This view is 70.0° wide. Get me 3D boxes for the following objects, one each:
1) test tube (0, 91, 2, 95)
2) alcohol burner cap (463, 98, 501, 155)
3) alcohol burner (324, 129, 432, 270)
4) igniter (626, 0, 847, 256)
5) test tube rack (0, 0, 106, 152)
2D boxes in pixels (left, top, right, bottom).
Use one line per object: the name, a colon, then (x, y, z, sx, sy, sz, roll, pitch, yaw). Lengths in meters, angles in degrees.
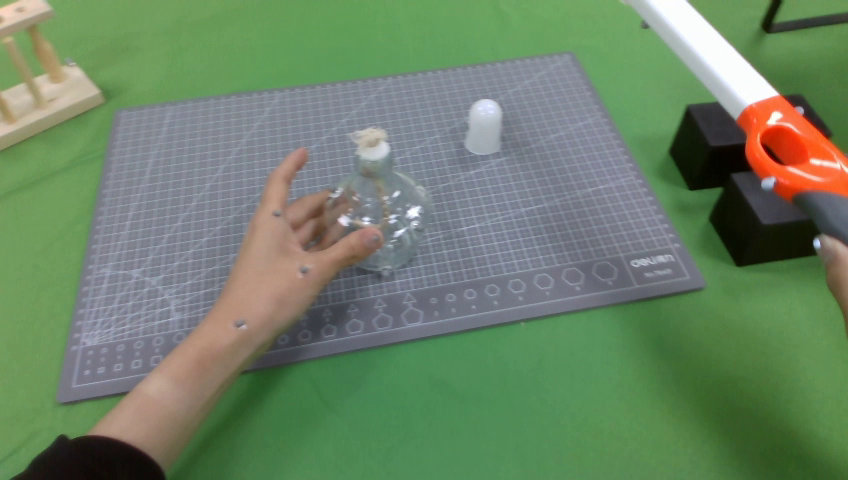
test tube: (-0.400, -0.182, 0.503, 0.017, 0.152, 0.017, -4, 43, 4)
alcohol burner cap: (0.051, -0.101, 0.521, 0.034, 0.048, 0.033, 0, 51, 0)
alcohol burner: (-0.033, -0.032, 0.423, 0.078, 0.120, 0.077, 1, 52, 0)
igniter: (0.204, -0.070, 0.358, 0.057, 0.025, 0.274, -19, 62, -15)
test tube rack: (-0.417, -0.113, 0.516, 0.242, 0.086, 0.066, -36, 59, -24)
